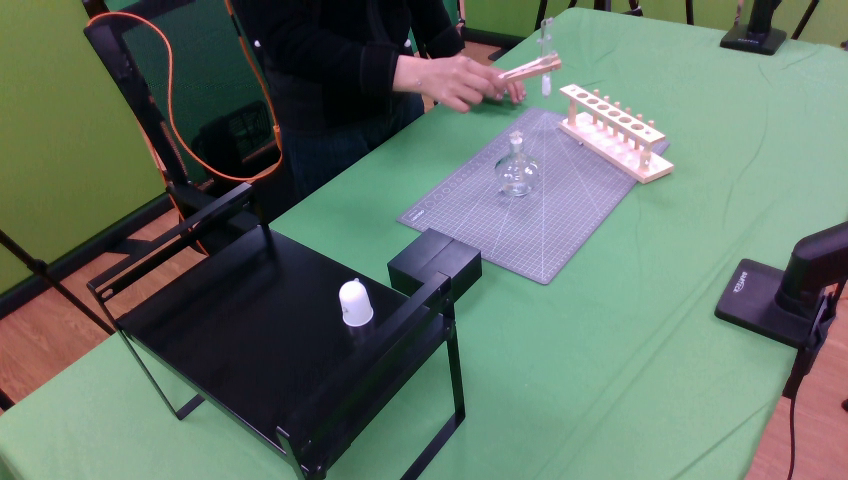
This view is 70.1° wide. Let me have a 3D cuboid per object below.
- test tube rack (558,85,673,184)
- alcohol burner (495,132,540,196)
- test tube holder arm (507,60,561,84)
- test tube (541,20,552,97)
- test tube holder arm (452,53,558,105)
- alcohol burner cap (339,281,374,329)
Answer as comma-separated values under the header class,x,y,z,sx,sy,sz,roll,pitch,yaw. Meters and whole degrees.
class,x,y,z,sx,sy,sz,roll,pitch,yaw
test tube rack,0.347,-0.203,1.109,0.067,0.085,0.240,-22,42,-17
alcohol burner,0.159,-0.135,1.035,0.078,0.119,0.077,-5,42,5
test tube holder arm,0.172,-0.263,0.947,0.088,0.015,0.010,-15,62,1
test tube,0.190,-0.278,0.942,0.017,0.151,0.017,-4,60,8
test tube holder arm,0.128,-0.252,0.948,0.178,0.015,0.013,-22,62,-3
alcohol burner cap,-0.071,0.063,0.617,0.034,0.048,0.033,-4,39,4
